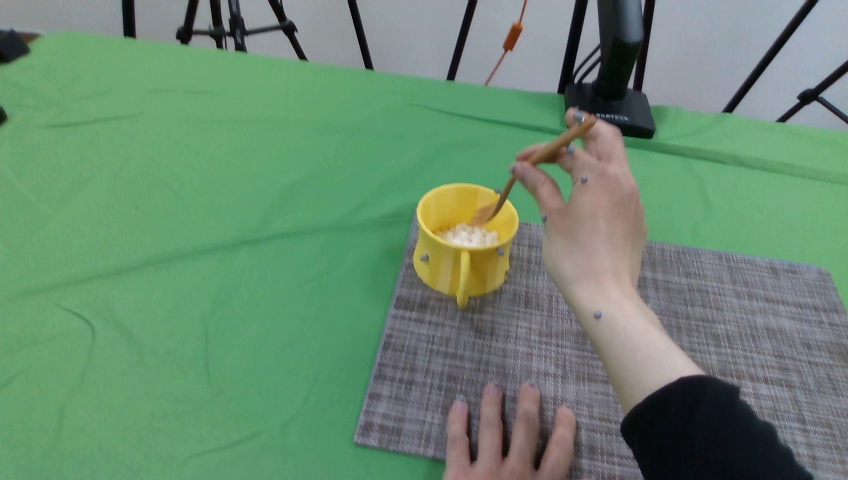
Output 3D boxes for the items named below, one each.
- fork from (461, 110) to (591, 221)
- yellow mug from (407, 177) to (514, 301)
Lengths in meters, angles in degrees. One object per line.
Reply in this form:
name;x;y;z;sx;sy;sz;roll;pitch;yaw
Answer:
fork;0.075;-0.055;0.499;0.018;0.207;0.028;33;65;-4
yellow mug;0.034;0.003;0.592;0.100;0.064;0.129;5;43;-1
